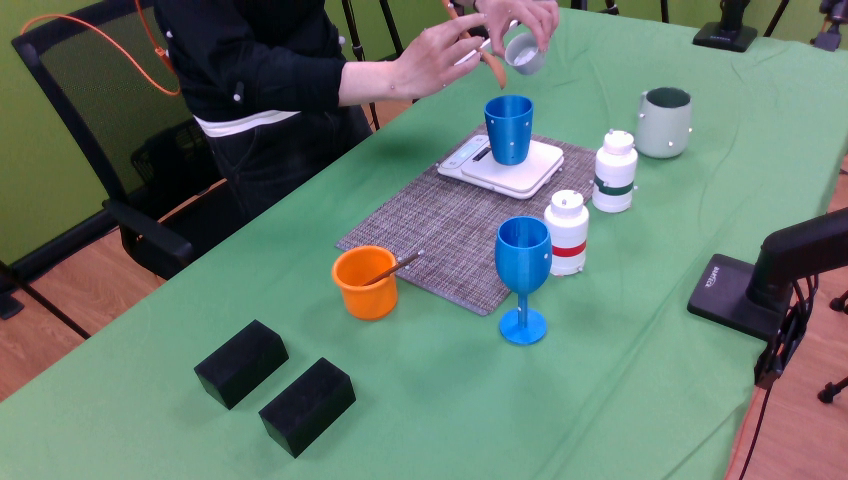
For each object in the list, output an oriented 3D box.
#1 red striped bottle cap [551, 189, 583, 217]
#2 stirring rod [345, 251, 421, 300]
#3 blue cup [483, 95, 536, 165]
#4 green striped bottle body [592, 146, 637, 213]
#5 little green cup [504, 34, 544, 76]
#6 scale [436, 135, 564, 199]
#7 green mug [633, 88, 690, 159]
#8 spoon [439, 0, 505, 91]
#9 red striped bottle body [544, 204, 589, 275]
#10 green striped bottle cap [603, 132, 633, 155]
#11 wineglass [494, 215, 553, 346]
[{"bbox_3d":[0.199,-0.052,0.843,0.044,0.018,0.044,-2,42,2],"label":"red striped bottle cap"},{"bbox_3d":[-0.060,0.051,0.829,0.175,0.006,0.014,-32,18,44],"label":"stirring rod"},{"bbox_3d":[0.148,-0.188,1.053,0.092,0.100,0.092,-5,39,5],"label":"blue cup"},{"bbox_3d":[0.307,-0.108,0.976,0.063,0.120,0.063,-4,41,4],"label":"green striped bottle body"},{"bbox_3d":[0.169,-0.306,1.008,0.061,0.039,0.061,-13,65,31],"label":"little green cup"},{"bbox_3d":[0.137,-0.142,1.101,0.199,0.032,0.149,22,48,30],"label":"scale"},{"bbox_3d":[0.423,-0.217,1.099,0.093,0.105,0.124,-16,41,-9],"label":"green mug"},{"bbox_3d":[0.075,-0.306,0.935,0.021,0.195,0.041,-23,41,34],"label":"spoon"},{"bbox_3d":[0.206,-0.011,0.877,0.063,0.120,0.062,-5,41,5],"label":"red striped bottle body"},{"bbox_3d":[0.302,-0.149,0.939,0.044,0.020,0.044,-3,40,3],"label":"green striped bottle cap"},{"bbox_3d":[0.126,0.055,0.770,0.074,0.173,0.073,-4,40,4],"label":"wineglass"}]
